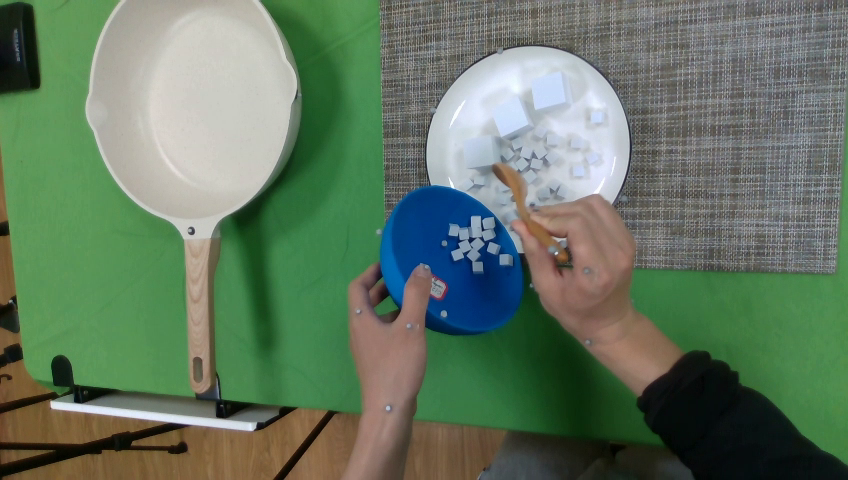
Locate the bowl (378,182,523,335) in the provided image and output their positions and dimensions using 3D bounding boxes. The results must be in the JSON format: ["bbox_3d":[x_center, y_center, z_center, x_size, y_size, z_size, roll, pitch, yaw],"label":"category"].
[{"bbox_3d":[0.013,0.029,0.582,0.151,0.151,0.077,56,137,6],"label":"bowl"}]

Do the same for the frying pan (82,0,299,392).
[{"bbox_3d":[-0.272,-0.064,0.726,0.305,0.103,0.487,-1,88,21],"label":"frying pan"}]

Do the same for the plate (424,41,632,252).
[{"bbox_3d":[0.103,-0.092,0.616,0.207,0.039,0.208,2,97,20],"label":"plate"}]

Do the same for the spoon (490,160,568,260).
[{"bbox_3d":[0.084,-0.026,0.500,0.021,0.192,0.042,-36,114,13],"label":"spoon"}]
